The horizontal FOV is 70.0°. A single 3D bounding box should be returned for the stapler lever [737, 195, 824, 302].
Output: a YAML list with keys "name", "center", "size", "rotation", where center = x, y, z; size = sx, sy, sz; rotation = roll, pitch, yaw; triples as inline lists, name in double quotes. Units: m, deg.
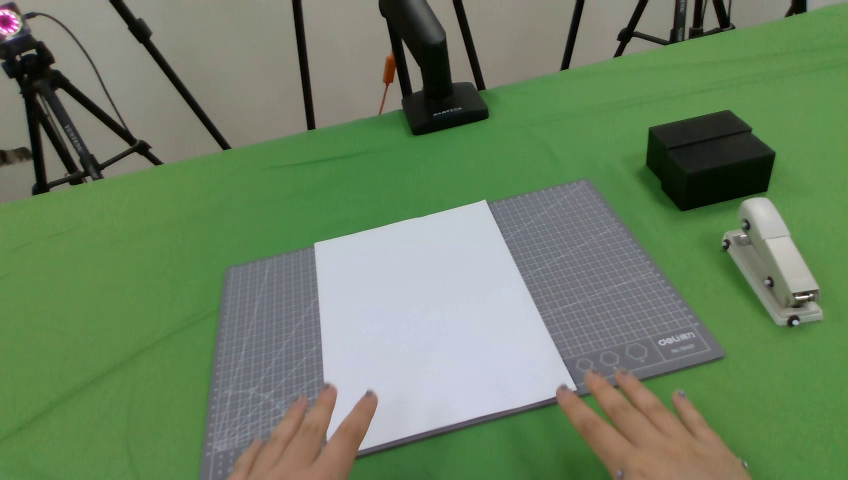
- name: "stapler lever"
  center: [0.322, 0.004, 0.551]
  size: [0.027, 0.040, 0.117]
  rotation: [-11, 40, 5]

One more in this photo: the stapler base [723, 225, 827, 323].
- name: "stapler base"
  center: [0.326, 0.022, 0.569]
  size: [0.041, 0.025, 0.129]
  rotation: [-11, 40, 5]
